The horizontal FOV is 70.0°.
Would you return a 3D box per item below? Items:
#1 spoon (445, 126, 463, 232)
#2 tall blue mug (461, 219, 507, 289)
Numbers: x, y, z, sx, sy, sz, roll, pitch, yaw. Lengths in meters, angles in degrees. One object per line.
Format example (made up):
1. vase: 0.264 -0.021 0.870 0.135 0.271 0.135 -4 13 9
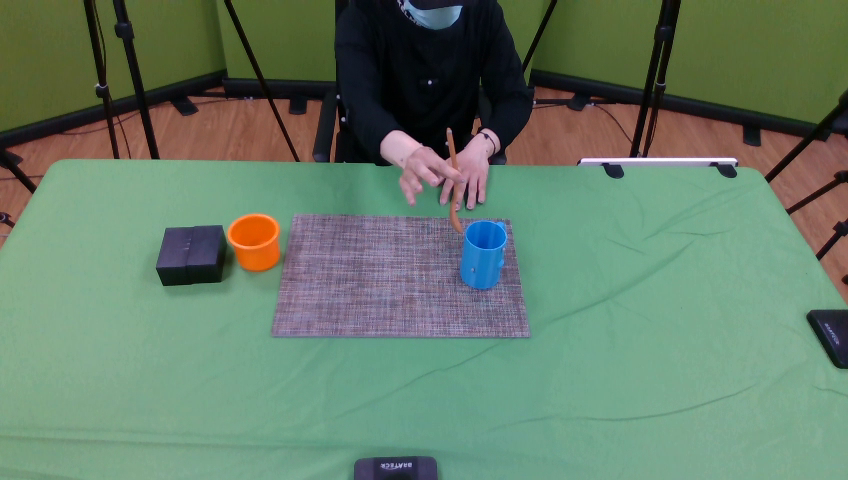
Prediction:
1. spoon: 0.051 -0.099 1.012 0.021 0.194 0.041 -2 30 4
2. tall blue mug: 0.111 0.016 1.122 0.078 0.108 0.106 6 46 4
